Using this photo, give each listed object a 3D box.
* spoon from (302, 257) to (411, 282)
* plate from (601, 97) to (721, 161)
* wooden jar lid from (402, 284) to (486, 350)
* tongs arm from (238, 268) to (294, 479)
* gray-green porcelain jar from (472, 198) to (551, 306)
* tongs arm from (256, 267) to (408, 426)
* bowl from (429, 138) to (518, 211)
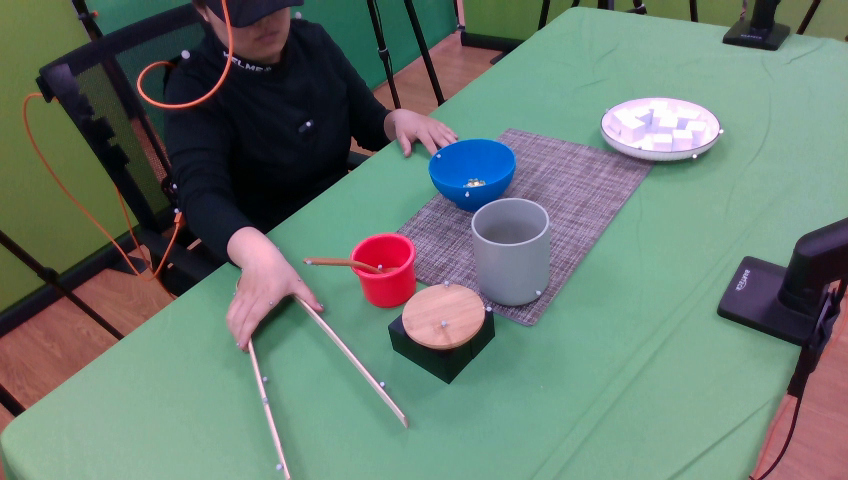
[{"bbox_3d":[-0.092,0.038,0.865,0.195,0.021,0.041,16,16,-46],"label":"spoon"},{"bbox_3d":[0.436,-0.203,1.126,0.209,0.038,0.208,-5,39,5],"label":"plate"},{"bbox_3d":[0.026,0.101,0.786,0.108,0.021,0.108,-5,39,4],"label":"wooden jar lid"},{"bbox_3d":[-0.208,0.163,0.824,0.051,0.026,0.381,-22,40,-15],"label":"tongs arm"},{"bbox_3d":[0.125,0.021,0.850,0.106,0.127,0.105,-6,40,5],"label":"gray-green porcelain jar"},{"bbox_3d":[-0.140,0.133,0.850,0.028,0.028,0.384,-34,45,-22],"label":"tongs arm"},{"bbox_3d":[0.087,-0.104,1.043,0.151,0.077,0.150,-5,40,5],"label":"bowl"}]
